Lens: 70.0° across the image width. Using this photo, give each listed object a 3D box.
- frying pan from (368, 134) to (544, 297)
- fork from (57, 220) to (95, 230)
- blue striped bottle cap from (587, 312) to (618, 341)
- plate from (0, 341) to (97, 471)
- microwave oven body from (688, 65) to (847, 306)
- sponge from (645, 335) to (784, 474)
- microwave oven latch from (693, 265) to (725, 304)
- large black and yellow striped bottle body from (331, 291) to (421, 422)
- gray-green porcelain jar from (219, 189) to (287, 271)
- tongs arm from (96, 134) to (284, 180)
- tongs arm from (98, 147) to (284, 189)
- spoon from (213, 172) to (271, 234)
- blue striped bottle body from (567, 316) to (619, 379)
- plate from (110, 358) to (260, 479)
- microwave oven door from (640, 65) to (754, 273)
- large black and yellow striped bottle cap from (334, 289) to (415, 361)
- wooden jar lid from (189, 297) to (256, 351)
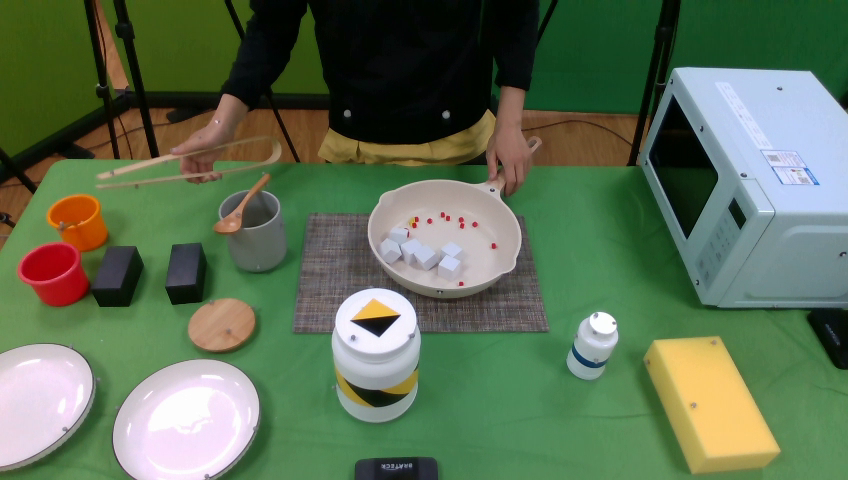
[{"bbox_3d":[0.104,-0.069,1.205,0.305,0.103,0.487,32,61,23],"label":"frying pan"},{"bbox_3d":[-0.624,-0.027,1.086,0.028,0.207,0.018,-2,91,-17],"label":"fork"},{"bbox_3d":[0.279,0.134,0.947,0.044,0.021,0.044,2,45,-2],"label":"blue striped bottle cap"},{"bbox_3d":[-0.599,0.247,0.904,0.209,0.038,0.208,2,47,-2],"label":"plate"},{"bbox_3d":[0.669,-0.111,1.176,0.326,0.261,0.439,0,46,-3],"label":"microwave oven body"},{"bbox_3d":[0.449,0.253,0.956,0.118,0.061,0.205,-4,46,-7],"label":"sponge"},{"bbox_3d":[0.523,0.081,1.116,0.030,0.029,0.078,2,46,-1],"label":"microwave oven latch"},{"bbox_3d":[-0.071,0.175,0.911,0.131,0.185,0.130,2,47,-2],"label":"large black and yellow striped bottle body"},{"bbox_3d":[-0.309,-0.014,1.113,0.106,0.127,0.105,2,46,-2],"label":"gray-green porcelain jar"},{"bbox_3d":[-0.427,-0.154,1.159,0.026,0.051,0.385,13,29,35],"label":"tongs arm"},{"bbox_3d":[-0.426,-0.139,1.164,0.027,0.028,0.388,8,20,36],"label":"tongs arm"},{"bbox_3d":[-0.313,-0.069,1.069,0.041,0.022,0.193,10,43,10],"label":"spoon"},{"bbox_3d":[0.276,0.168,0.984,0.063,0.121,0.062,2,46,-2],"label":"blue striped bottle body"},{"bbox_3d":[-0.349,0.273,0.899,0.208,0.039,0.206,2,46,-2],"label":"plate"},{"bbox_3d":[0.523,-0.147,1.193,0.039,0.245,0.353,0,47,-3],"label":"microwave oven door"},{"bbox_3d":[-0.069,0.117,0.850,0.115,0.019,0.114,2,45,-2],"label":"large black and yellow striped bottle cap"},{"bbox_3d":[-0.342,0.145,1.033,0.108,0.021,0.107,2,45,-2],"label":"wooden jar lid"}]
